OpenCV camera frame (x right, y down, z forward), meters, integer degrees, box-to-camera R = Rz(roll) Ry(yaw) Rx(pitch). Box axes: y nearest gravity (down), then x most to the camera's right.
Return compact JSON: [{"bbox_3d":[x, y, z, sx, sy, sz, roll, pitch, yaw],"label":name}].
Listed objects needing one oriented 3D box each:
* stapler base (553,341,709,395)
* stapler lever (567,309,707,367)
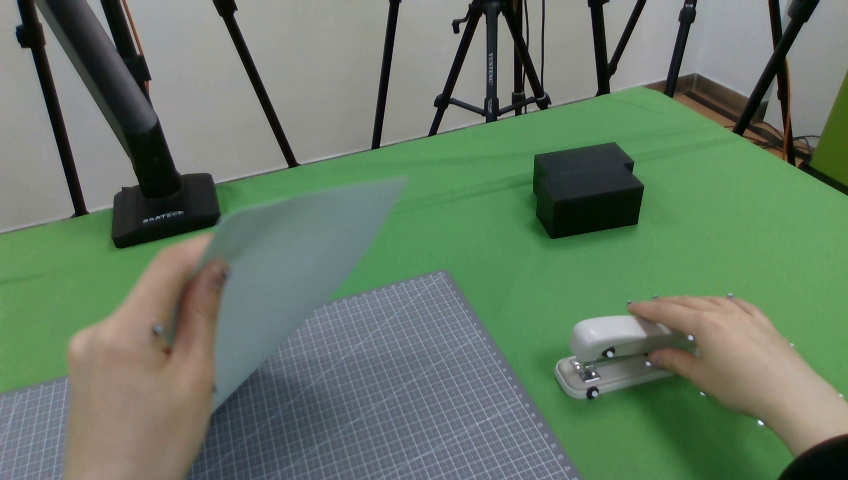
[{"bbox_3d":[0.173,0.094,0.505,0.131,0.024,0.041,-11,40,-12],"label":"stapler base"},{"bbox_3d":[0.173,0.074,0.490,0.118,0.040,0.026,-12,40,-11],"label":"stapler lever"}]
